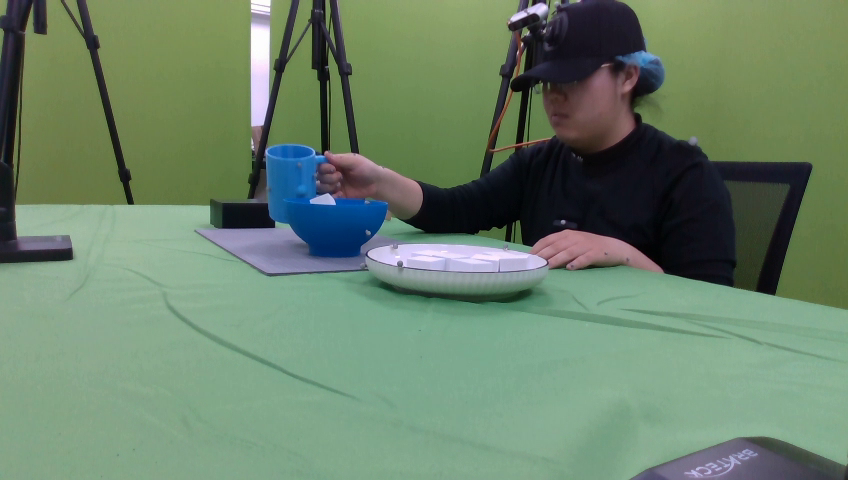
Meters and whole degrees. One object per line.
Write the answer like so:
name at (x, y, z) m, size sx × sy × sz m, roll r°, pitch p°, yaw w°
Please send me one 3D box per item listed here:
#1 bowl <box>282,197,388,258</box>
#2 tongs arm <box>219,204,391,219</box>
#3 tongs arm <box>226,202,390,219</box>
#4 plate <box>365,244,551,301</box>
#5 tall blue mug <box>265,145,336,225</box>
bowl at (-0.128, -0.018, 0.869) m, size 0.151 × 0.077 × 0.151 m, roll 2°, pitch 7°, yaw 0°
tongs arm at (-0.258, -0.064, 1.367) m, size 0.386 × 0.026 × 0.050 m, roll 1°, pitch 3°, yaw -17°
tongs arm at (-0.275, -0.071, 1.445) m, size 0.388 × 0.027 × 0.028 m, roll 2°, pitch -1°, yaw -4°
plate at (0.038, 0.036, 0.685) m, size 0.209 × 0.038 × 0.209 m, roll 2°, pitch 7°, yaw 0°
tall blue mug at (-0.203, -0.094, 0.977) m, size 0.077 × 0.108 × 0.107 m, roll 15°, pitch 29°, yaw 23°
